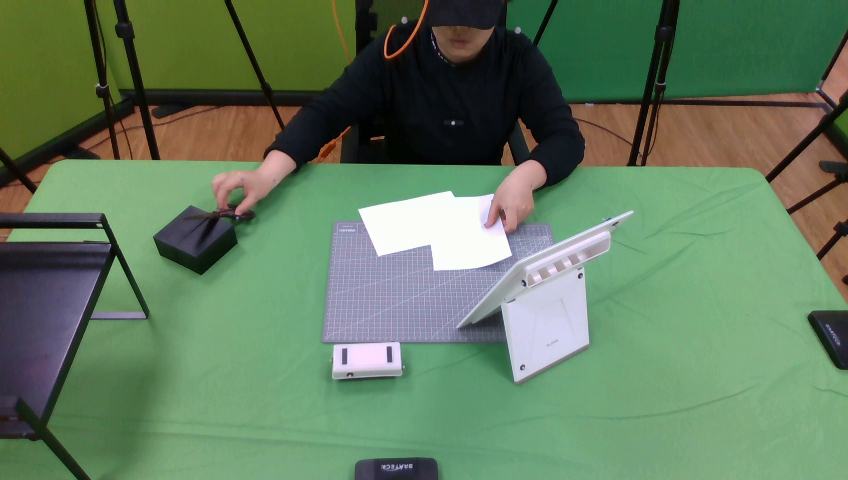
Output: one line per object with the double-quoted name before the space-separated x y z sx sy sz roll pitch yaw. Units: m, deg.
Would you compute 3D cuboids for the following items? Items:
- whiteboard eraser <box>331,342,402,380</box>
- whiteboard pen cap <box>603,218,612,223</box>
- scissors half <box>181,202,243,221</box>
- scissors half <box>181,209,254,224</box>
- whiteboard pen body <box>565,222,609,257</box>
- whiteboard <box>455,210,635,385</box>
"whiteboard eraser" -0.094 0.198 0.986 0.113 0.042 0.055 -2 44 -6
"whiteboard pen cap" 0.378 -0.031 1.255 0.033 0.018 0.018 -34 57 -30
"scissors half" -0.407 -0.053 1.161 0.040 0.013 0.175 26 18 9
"scissors half" -0.391 -0.043 1.156 0.040 0.013 0.175 38 22 23
"whiteboard pen body" 0.334 -0.004 1.229 0.141 0.017 0.017 -33 56 -29
"whiteboard" 0.211 0.111 0.955 0.217 0.306 0.143 -21 71 -23
